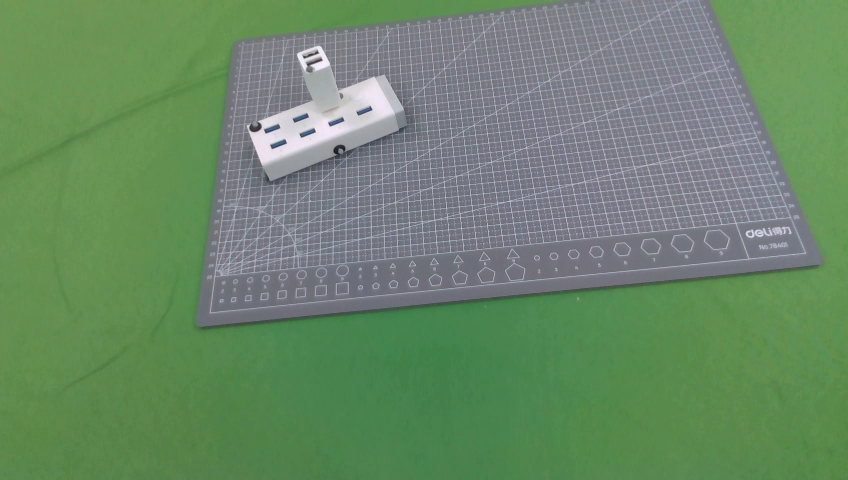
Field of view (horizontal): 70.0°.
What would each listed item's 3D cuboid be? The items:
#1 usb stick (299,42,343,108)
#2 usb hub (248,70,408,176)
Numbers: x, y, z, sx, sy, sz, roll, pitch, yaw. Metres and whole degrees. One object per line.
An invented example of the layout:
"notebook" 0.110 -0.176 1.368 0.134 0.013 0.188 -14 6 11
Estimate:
"usb stick" -0.082 -0.128 0.492 0.021 0.060 0.027 -24 59 -8
"usb hub" -0.080 -0.100 0.509 0.125 0.025 0.049 -22 61 -7
